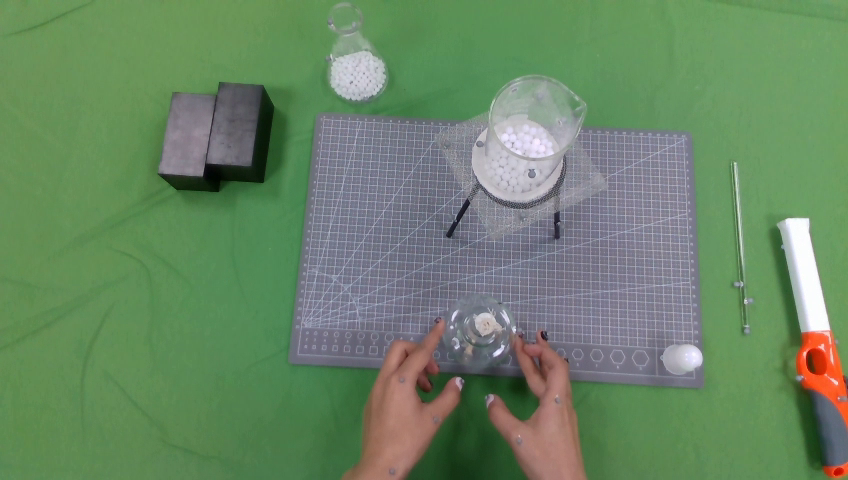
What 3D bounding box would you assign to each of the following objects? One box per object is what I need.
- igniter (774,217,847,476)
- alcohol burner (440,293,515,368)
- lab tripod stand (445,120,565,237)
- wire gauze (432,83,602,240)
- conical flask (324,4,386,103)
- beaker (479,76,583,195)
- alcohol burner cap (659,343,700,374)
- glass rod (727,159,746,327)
[{"bbox_3d":[0.423,0.109,0.656,0.057,0.025,0.275,-1,76,-11],"label":"igniter"},{"bbox_3d":[0.056,0.089,0.613,0.078,0.119,0.077,0,74,-1],"label":"alcohol burner"},{"bbox_3d":[0.088,-0.055,0.639,0.148,0.132,0.147,0,77,1],"label":"lab tripod stand"},{"bbox_3d":[0.089,-0.075,0.577,0.125,0.011,0.121,-25,80,-7],"label":"wire gauze"},{"bbox_3d":[-0.084,-0.215,0.688,0.075,0.122,0.075,0,75,0],"label":"conical flask"},{"bbox_3d":[0.089,-0.087,0.530,0.084,0.100,0.073,-17,77,-4],"label":"beaker"},{"bbox_3d":[0.274,0.123,0.641,0.034,0.048,0.033,0,75,0],"label":"alcohol burner cap"},{"bbox_3d":[0.358,0.000,0.694,0.008,0.008,0.198,3,76,1],"label":"glass rod"}]
